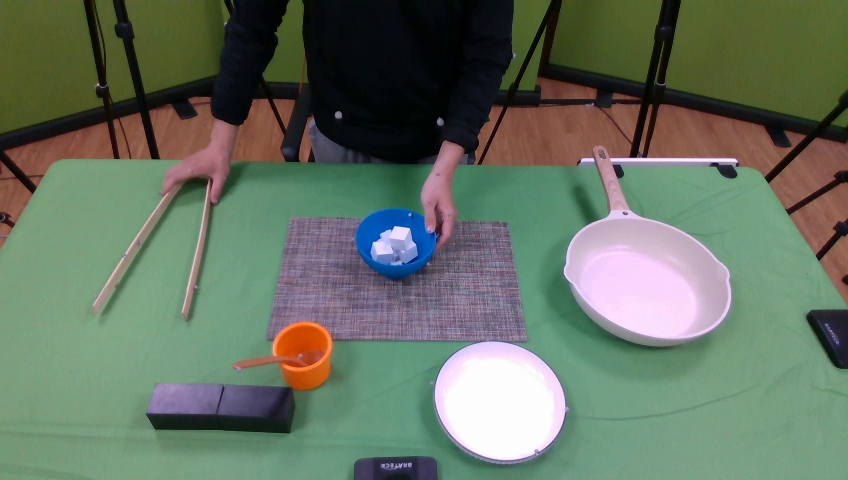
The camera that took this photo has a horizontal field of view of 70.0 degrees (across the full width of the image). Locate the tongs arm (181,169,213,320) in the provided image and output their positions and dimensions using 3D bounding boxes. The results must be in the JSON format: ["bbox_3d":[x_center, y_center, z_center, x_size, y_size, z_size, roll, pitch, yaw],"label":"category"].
[{"bbox_3d":[-0.437,-0.006,1.165,0.028,0.028,0.385,-5,46,-5],"label":"tongs arm"}]

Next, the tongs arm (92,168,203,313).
[{"bbox_3d":[-0.517,-0.013,1.160,0.051,0.026,0.382,7,45,1],"label":"tongs arm"}]

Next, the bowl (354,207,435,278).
[{"bbox_3d":[-0.055,0.018,1.132,0.151,0.077,0.150,2,46,-2],"label":"bowl"}]

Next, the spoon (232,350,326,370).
[{"bbox_3d":[-0.216,0.182,0.919,0.041,0.194,0.021,43,102,27],"label":"spoon"}]

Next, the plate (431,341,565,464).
[{"bbox_3d":[0.114,0.255,0.951,0.208,0.039,0.206,3,46,-2],"label":"plate"}]

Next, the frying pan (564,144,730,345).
[{"bbox_3d":[0.396,-0.008,1.179,0.307,0.103,0.484,0,55,-5],"label":"frying pan"}]
